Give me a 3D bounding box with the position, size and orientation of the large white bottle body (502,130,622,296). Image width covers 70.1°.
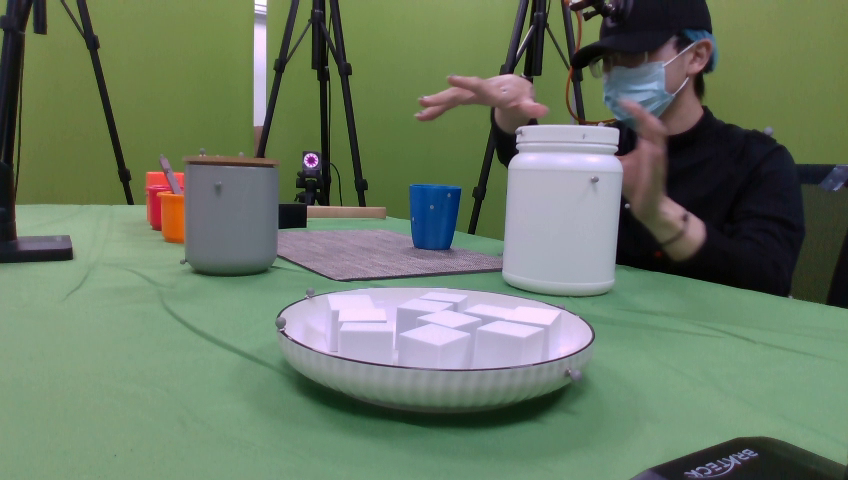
[{"bbox_3d":[0.160,-0.036,0.707,0.131,0.184,0.130,2,7,0],"label":"large white bottle body"}]

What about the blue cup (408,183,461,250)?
[{"bbox_3d":[0.015,-0.038,0.970,0.093,0.100,0.092,3,9,0],"label":"blue cup"}]

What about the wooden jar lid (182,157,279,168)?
[{"bbox_3d":[-0.227,-0.086,0.714,0.108,0.020,0.108,1,6,0],"label":"wooden jar lid"}]

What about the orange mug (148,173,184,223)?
[{"bbox_3d":[-0.490,-0.087,1.222,0.127,0.101,0.083,-9,13,-38],"label":"orange mug"}]

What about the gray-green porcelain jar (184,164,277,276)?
[{"bbox_3d":[-0.230,-0.025,0.722,0.106,0.126,0.106,3,7,0],"label":"gray-green porcelain jar"}]

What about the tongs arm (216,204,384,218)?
[{"bbox_3d":[-0.288,-0.069,1.435,0.389,0.027,0.028,0,-1,-17],"label":"tongs arm"}]

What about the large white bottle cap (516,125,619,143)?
[{"bbox_3d":[0.164,-0.120,0.695,0.115,0.018,0.115,2,7,0],"label":"large white bottle cap"}]

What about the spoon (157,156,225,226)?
[{"bbox_3d":[-0.425,-0.094,1.117,0.041,0.022,0.194,5,51,29],"label":"spoon"}]

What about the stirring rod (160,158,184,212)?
[{"bbox_3d":[-0.391,-0.070,0.972,0.014,0.006,0.175,-1,50,-49],"label":"stirring rod"}]

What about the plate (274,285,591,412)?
[{"bbox_3d":[0.005,0.069,0.408,0.208,0.039,0.207,2,7,0],"label":"plate"}]

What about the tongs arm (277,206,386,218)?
[{"bbox_3d":[-0.251,-0.063,1.360,0.387,0.026,0.050,-1,3,-31],"label":"tongs arm"}]
